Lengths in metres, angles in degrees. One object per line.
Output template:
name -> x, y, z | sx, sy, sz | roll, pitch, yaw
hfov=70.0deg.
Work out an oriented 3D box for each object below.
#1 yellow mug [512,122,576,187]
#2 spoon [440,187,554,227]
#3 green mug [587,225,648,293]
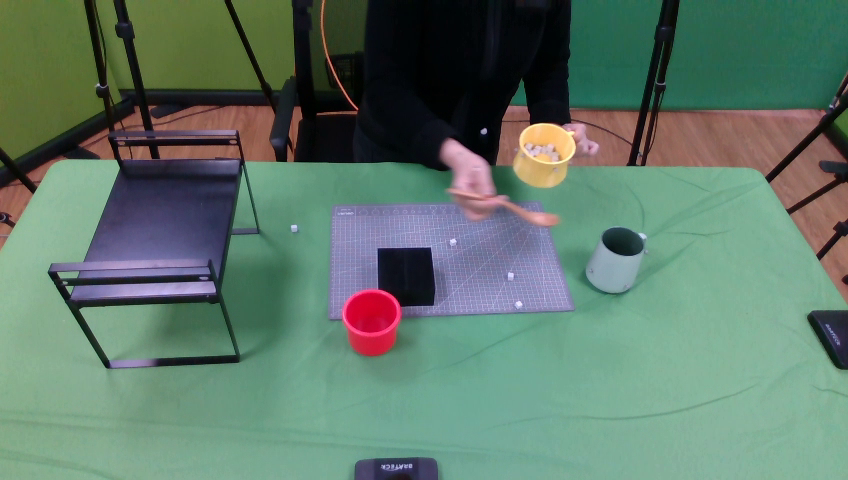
yellow mug -> 0.227, -0.162, 1.099 | 0.131, 0.064, 0.099 | -29, 62, -23
spoon -> 0.116, -0.055, 0.954 | 0.194, 0.022, 0.041 | 19, 31, -16
green mug -> 0.372, 0.030, 1.137 | 0.125, 0.105, 0.092 | -27, 53, -26
